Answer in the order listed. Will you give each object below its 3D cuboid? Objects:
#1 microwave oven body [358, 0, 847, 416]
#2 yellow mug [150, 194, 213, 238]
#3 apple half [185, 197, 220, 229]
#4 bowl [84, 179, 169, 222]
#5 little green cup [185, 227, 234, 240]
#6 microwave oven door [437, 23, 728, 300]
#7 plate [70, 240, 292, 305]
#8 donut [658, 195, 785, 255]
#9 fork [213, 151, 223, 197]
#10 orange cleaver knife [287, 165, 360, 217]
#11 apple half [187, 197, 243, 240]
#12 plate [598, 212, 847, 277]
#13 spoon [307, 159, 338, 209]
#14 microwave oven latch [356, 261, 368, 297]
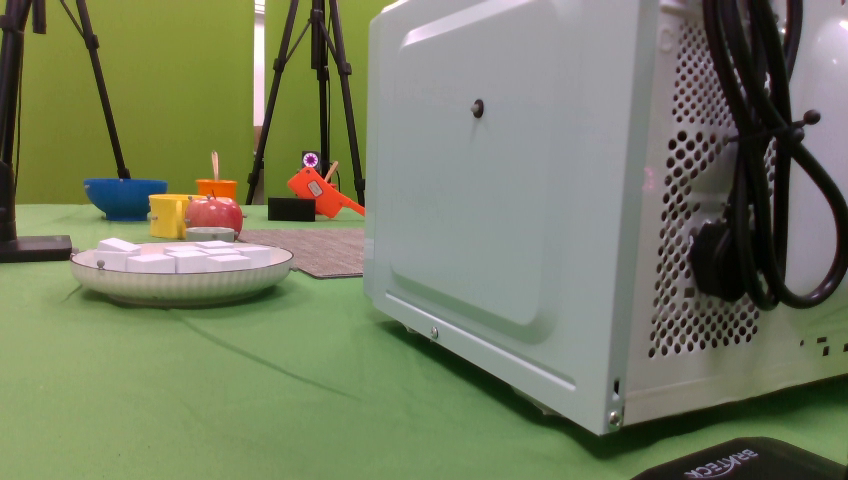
[{"bbox_3d":[0.211,-0.047,0.475,0.444,0.260,0.324,-1,8,-28],"label":"microwave oven body"},{"bbox_3d":[-0.401,-0.039,1.003,0.100,0.064,0.130,-1,9,-20],"label":"yellow mug"},{"bbox_3d":[-0.338,-0.031,0.927,0.032,0.081,0.081,12,12,31],"label":"apple half"},{"bbox_3d":[-0.584,-0.078,1.194,0.151,0.077,0.151,3,8,0],"label":"bowl"},{"bbox_3d":[-0.285,0.005,0.805,0.061,0.038,0.061,2,8,0],"label":"little green cup"},{"bbox_3d":[0.180,-0.072,0.621,0.358,0.243,0.039,-2,8,-29],"label":"microwave oven door"},{"bbox_3d":[-0.242,0.031,0.618,0.208,0.039,0.207,2,8,0],"label":"plate"},{"bbox_3d":[0.252,-0.012,0.517,0.099,0.048,0.099,4,8,0],"label":"donut"},{"bbox_3d":[-0.494,-0.143,1.442,0.028,0.018,0.206,-2,52,-20],"label":"fork"},{"bbox_3d":[-0.211,-0.093,1.382,0.212,0.077,0.012,33,1,-15],"label":"orange cleaver knife"},{"bbox_3d":[-0.305,-0.026,0.907,0.053,0.074,0.081,12,8,31],"label":"apple half"},{"bbox_3d":[0.255,0.001,0.518,0.209,0.038,0.209,2,6,0],"label":"plate"},{"bbox_3d":[-0.257,-0.147,1.567,0.041,0.022,0.193,1,50,20],"label":"spoon"},{"bbox_3d":[-0.020,0.033,0.531,0.079,0.029,0.030,-1,7,-27],"label":"microwave oven latch"}]
